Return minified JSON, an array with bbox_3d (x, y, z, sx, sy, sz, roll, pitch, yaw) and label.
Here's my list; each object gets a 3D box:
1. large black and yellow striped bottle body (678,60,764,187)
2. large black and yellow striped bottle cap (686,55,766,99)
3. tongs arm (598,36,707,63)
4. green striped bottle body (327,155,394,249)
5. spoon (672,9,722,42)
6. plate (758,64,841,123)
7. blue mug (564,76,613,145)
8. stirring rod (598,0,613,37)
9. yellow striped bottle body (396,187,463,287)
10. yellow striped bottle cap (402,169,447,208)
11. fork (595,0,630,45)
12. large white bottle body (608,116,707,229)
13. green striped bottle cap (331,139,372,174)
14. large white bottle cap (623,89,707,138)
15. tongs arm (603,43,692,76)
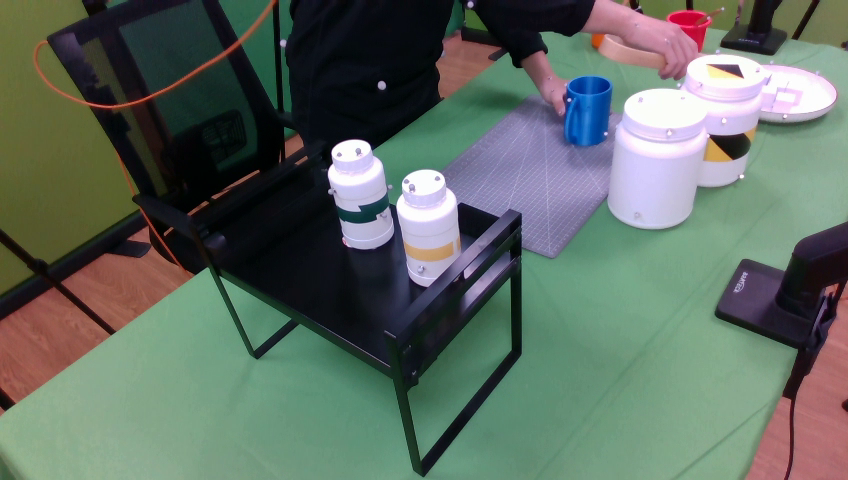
[{"bbox_3d":[0.482,-0.196,1.007,0.131,0.185,0.130,-4,41,4],"label":"large black and yellow striped bottle body"},{"bbox_3d":[0.474,-0.258,0.952,0.115,0.019,0.114,-5,41,5],"label":"large black and yellow striped bottle cap"},{"bbox_3d":[0.455,-0.321,1.082,0.388,0.026,0.050,1,41,-28],"label":"tongs arm"},{"bbox_3d":[-0.073,-0.053,0.699,0.063,0.120,0.063,-5,41,4],"label":"green striped bottle body"},{"bbox_3d":[0.606,-0.476,1.345,0.042,0.021,0.193,-6,-3,-2],"label":"spoon"},{"bbox_3d":[0.694,-0.283,1.189,0.207,0.039,0.206,-4,40,4],"label":"plate"},{"bbox_3d":[0.300,-0.237,1.140,0.081,0.106,0.117,28,52,34],"label":"blue mug"},{"bbox_3d":[0.437,-0.551,1.462,0.014,0.006,0.175,-11,83,1],"label":"stirring rod"},{"bbox_3d":[0.006,-0.013,0.638,0.063,0.121,0.062,-5,41,4],"label":"yellow striped bottle body"},{"bbox_3d":[0.000,-0.052,0.605,0.044,0.019,0.044,-5,41,5],"label":"yellow striped bottle cap"},{"bbox_3d":[0.479,-0.556,1.452,0.028,0.019,0.207,41,103,40],"label":"fork"},{"bbox_3d":[0.362,-0.123,0.942,0.130,0.185,0.130,-5,41,4],"label":"large white bottle body"},{"bbox_3d":[-0.080,-0.092,0.665,0.044,0.020,0.044,-3,40,3],"label":"green striped bottle cap"},{"bbox_3d":[0.352,-0.187,0.886,0.115,0.018,0.114,-4,41,4],"label":"large white bottle cap"},{"bbox_3d":[0.465,-0.306,1.067,0.390,0.028,0.028,-3,46,-31],"label":"tongs arm"}]
